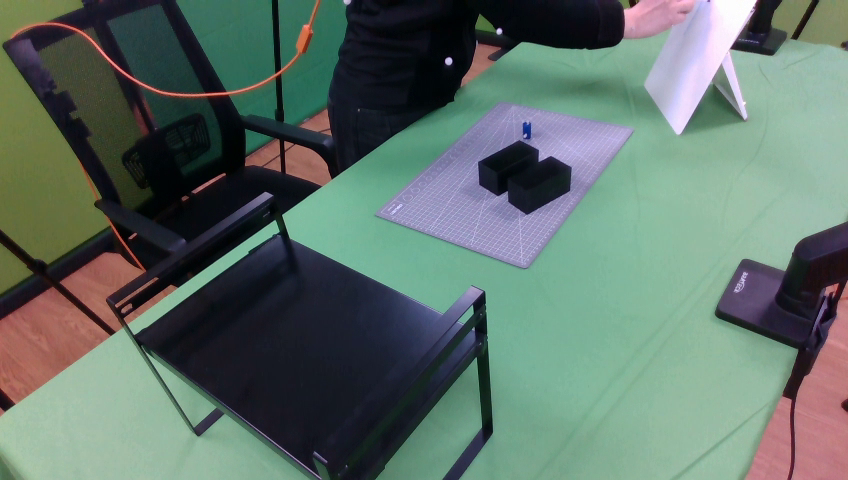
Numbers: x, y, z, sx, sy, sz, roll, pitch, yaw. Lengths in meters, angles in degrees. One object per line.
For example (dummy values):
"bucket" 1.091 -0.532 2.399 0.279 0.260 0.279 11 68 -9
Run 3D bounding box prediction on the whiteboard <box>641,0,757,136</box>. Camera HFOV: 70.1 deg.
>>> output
"whiteboard" 0.576 -0.367 1.147 0.144 0.306 0.216 10 39 -9

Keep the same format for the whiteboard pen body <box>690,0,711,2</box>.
"whiteboard pen body" 0.458 -0.447 1.092 0.141 0.017 0.017 7 38 -15

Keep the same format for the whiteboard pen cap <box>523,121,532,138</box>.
"whiteboard pen cap" 0.204 -0.216 1.185 0.018 0.033 0.018 -6 42 6
